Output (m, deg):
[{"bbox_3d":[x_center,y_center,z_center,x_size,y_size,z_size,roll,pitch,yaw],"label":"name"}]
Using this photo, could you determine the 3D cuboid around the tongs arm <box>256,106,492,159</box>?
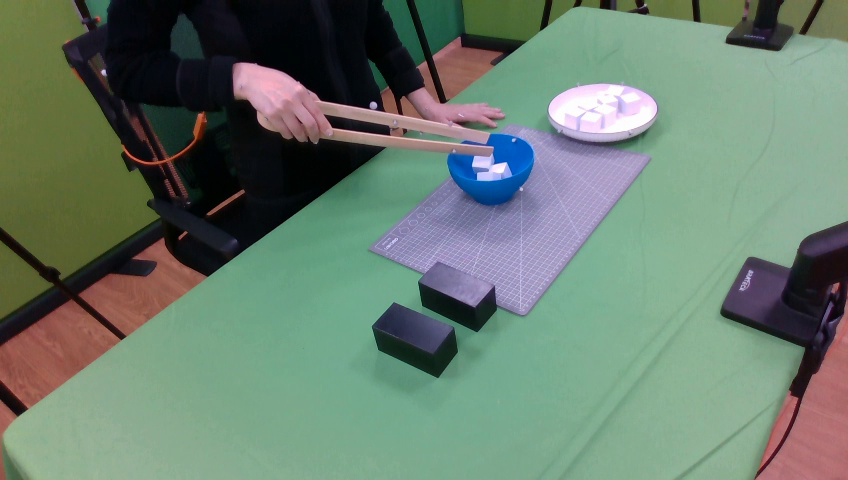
[{"bbox_3d":[-0.075,-0.169,0.987,0.389,0.028,0.028,7,59,-12],"label":"tongs arm"}]

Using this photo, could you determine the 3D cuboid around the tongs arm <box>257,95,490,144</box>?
[{"bbox_3d":[-0.076,-0.190,1.001,0.386,0.026,0.050,10,55,-10],"label":"tongs arm"}]

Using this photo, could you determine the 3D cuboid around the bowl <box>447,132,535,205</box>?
[{"bbox_3d":[0.119,-0.114,1.051,0.151,0.077,0.150,-6,40,5],"label":"bowl"}]

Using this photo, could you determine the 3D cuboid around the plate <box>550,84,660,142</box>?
[{"bbox_3d":[0.355,-0.246,1.195,0.207,0.039,0.206,-5,39,5],"label":"plate"}]
